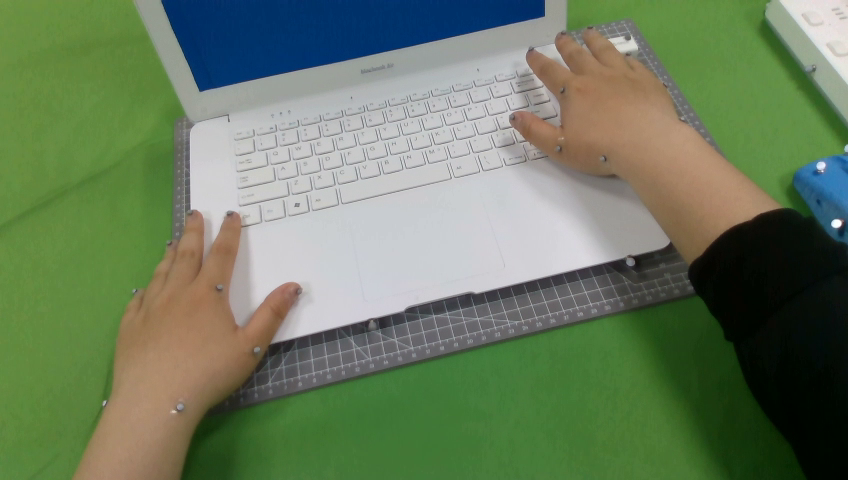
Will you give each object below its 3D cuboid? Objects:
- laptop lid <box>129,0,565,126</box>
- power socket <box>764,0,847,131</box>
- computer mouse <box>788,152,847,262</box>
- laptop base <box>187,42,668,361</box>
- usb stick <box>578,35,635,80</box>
[{"bbox_3d":[-0.058,-0.225,0.480,0.357,0.244,0.013,-15,43,-2],"label":"laptop lid"},{"bbox_3d":[0.369,-0.149,0.514,0.072,0.033,0.224,-10,56,0],"label":"power socket"},{"bbox_3d":[0.319,-0.022,0.431,0.063,0.041,0.116,-14,50,0],"label":"computer mouse"},{"bbox_3d":[-0.015,-0.046,0.496,0.354,0.023,0.233,-14,59,-3],"label":"laptop base"},{"bbox_3d":[0.155,-0.161,0.539,0.059,0.027,0.021,-15,57,0],"label":"usb stick"}]
